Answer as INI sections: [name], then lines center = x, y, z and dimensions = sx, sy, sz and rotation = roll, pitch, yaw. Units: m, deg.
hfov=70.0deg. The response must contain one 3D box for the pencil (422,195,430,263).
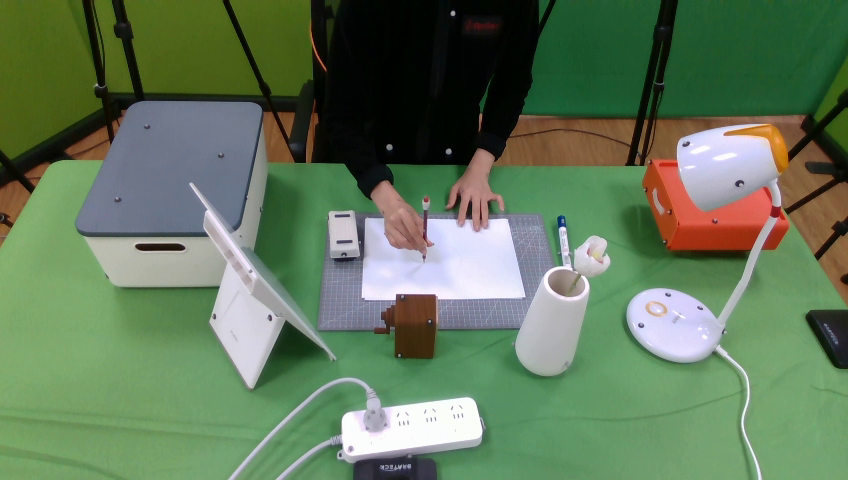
[pencil]
center = 0.001, -0.015, 1.086
dimensions = 0.012, 0.195, 0.012
rotation = 1, 53, -1

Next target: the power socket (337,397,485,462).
[power socket]
center = -0.018, 0.285, 0.915
dimensions = 0.227, 0.033, 0.071
rotation = -5, 46, -8

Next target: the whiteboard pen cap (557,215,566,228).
[whiteboard pen cap]
center = 0.284, -0.035, 1.246
dimensions = 0.018, 0.018, 0.033
rotation = 4, 52, -1

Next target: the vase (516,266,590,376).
[vase]
center = 0.208, 0.132, 0.965
dimensions = 0.098, 0.201, 0.097
rotation = 3, 46, -3

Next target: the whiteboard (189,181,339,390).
[whiteboard]
center = -0.292, 0.096, 0.929
dimensions = 0.144, 0.307, 0.216
rotation = -37, 57, -10

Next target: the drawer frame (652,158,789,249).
[drawer frame]
center = 0.571, -0.075, 1.214
dimensions = 0.214, 0.083, 0.200
rotation = 0, 45, -1

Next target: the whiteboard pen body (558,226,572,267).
[whiteboard pen body]
center = 0.280, 0.010, 1.208
dimensions = 0.017, 0.017, 0.140
rotation = 3, 50, -1

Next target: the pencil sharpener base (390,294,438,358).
[pencil sharpener base]
center = -0.018, 0.143, 1.000
dimensions = 0.077, 0.107, 0.061
rotation = 1, 46, -2

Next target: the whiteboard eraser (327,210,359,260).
[whiteboard eraser]
center = -0.158, -0.009, 1.177
dimensions = 0.055, 0.042, 0.112
rotation = -6, 47, -7

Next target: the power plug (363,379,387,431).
[power plug]
center = -0.072, 0.252, 0.910
dimensions = 0.035, 0.053, 0.072
rotation = 3, 45, -1

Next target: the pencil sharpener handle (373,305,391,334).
[pencil sharpener handle]
center = -0.068, 0.133, 0.989
dimensions = 0.030, 0.068, 0.036
rotation = 1, 47, -2

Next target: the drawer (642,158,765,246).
[drawer]
center = 0.565, -0.076, 1.211
dimensions = 0.212, 0.073, 0.193
rotation = 2, 45, -2

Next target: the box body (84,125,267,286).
[box body]
center = -0.446, -0.088, 1.150
dimensions = 0.254, 0.161, 0.361
rotation = -1, 46, -5

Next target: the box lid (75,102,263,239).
[box lid]
center = -0.443, -0.138, 1.094
dimensions = 0.263, 0.015, 0.369
rotation = -1, 47, -5

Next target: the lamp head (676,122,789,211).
[lamp head]
center = 0.423, -0.104, 0.819
dimensions = 0.122, 0.113, 0.112
rotation = -13, 33, 40

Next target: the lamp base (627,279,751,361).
[lamp base]
center = 0.459, 0.100, 1.027
dimensions = 0.178, 0.181, 0.160
rotation = 27, 51, 17

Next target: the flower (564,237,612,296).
[flower]
center = 0.206, 0.088, 0.893
dimensions = 0.038, 0.363, 0.044
rotation = -17, 67, -9
